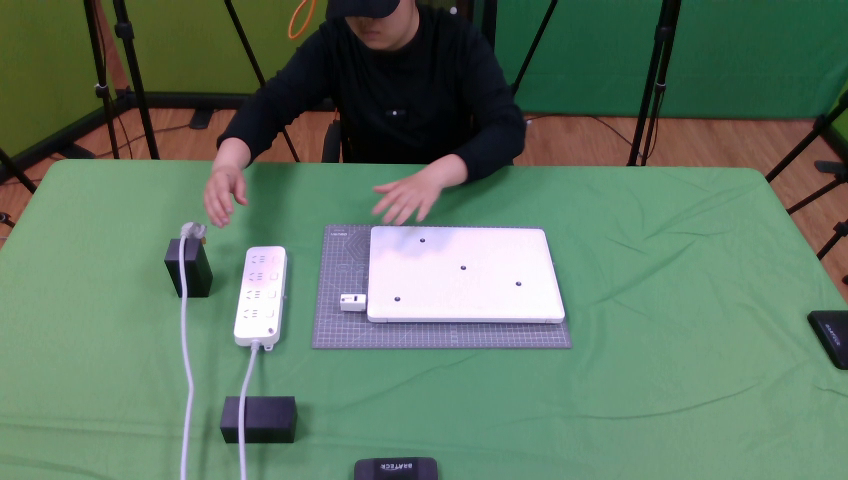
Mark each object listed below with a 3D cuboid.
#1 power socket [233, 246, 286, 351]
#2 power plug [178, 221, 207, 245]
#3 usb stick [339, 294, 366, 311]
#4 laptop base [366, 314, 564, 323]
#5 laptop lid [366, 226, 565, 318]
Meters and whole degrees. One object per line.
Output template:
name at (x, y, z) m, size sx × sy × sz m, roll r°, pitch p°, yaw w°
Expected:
power socket at (-0.289, 0.095, 1.077) m, size 0.072 × 0.033 × 0.225 m, roll -2°, pitch 46°, yaw -5°
power plug at (-0.412, -0.002, 1.069) m, size 0.035 × 0.053 × 0.072 m, roll -2°, pitch 41°, yaw 24°
usb stick at (-0.119, 0.111, 1.068) m, size 0.059 × 0.027 × 0.021 m, roll 4°, pitch 47°, yaw -5°
laptop base at (0.071, 0.064, 1.144) m, size 0.355 × 0.023 × 0.234 m, roll 1°, pitch 43°, yaw -4°
laptop lid at (0.072, 0.054, 1.137) m, size 0.357 × 0.013 × 0.240 m, roll 2°, pitch 44°, yaw -3°
